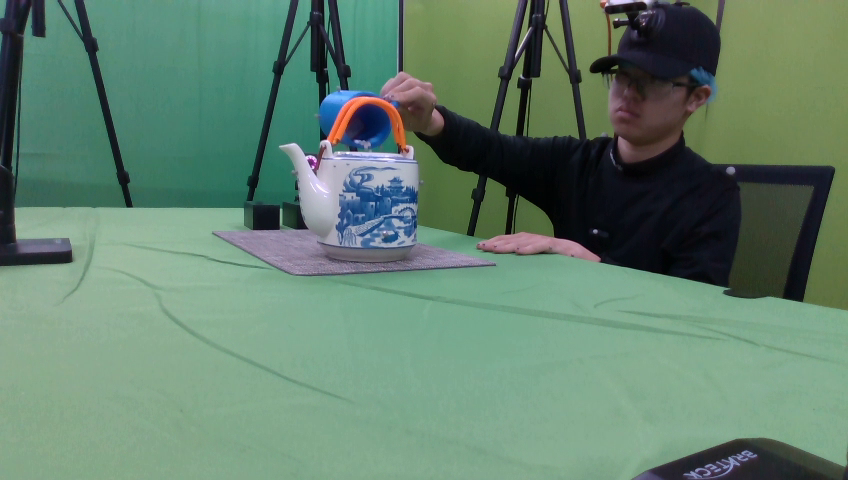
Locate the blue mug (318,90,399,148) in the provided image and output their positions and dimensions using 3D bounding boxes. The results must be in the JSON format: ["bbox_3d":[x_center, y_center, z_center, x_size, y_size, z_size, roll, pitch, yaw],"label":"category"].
[{"bbox_3d":[-0.093,-0.193,0.924,0.117,0.082,0.105,-30,25,-18],"label":"blue mug"}]

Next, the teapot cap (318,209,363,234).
[{"bbox_3d":[-0.158,-0.036,1.144,0.085,0.044,0.085,0,6,0],"label":"teapot cap"}]

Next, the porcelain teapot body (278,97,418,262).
[{"bbox_3d":[-0.104,-0.086,0.842,0.206,0.225,0.144,-4,9,-38],"label":"porcelain teapot body"}]
